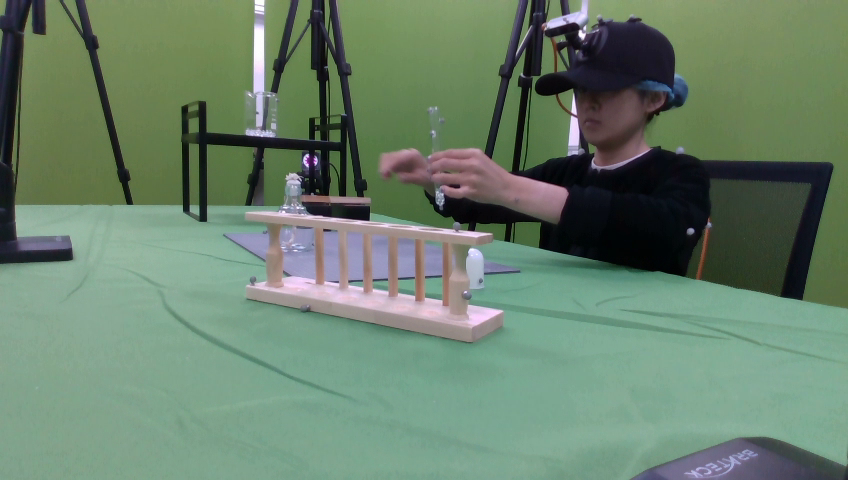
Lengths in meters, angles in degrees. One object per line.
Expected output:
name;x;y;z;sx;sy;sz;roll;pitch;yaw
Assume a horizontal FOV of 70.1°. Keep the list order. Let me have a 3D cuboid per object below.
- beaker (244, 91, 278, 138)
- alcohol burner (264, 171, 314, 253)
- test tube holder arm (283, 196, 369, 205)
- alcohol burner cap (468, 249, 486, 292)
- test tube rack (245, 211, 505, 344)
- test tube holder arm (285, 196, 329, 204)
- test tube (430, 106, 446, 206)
beaker;-0.367;-0.280;1.356;0.074;0.100;0.084;4;8;6
alcohol burner;-0.194;-0.042;0.888;0.078;0.119;0.078;3;5;0
test tube holder arm;-0.194;-0.080;1.220;0.179;0.015;0.013;0;5;-31
alcohol burner cap;0.056;0.035;0.690;0.034;0.048;0.034;2;7;0
test tube rack;-0.049;0.025;0.547;0.241;0.085;0.067;7;8;29
test tube holder arm;-0.231;-0.079;1.192;0.088;0.015;0.010;0;5;-29
test tube;0.021;-0.125;0.909;0.017;0.150;0.017;-4;13;1
